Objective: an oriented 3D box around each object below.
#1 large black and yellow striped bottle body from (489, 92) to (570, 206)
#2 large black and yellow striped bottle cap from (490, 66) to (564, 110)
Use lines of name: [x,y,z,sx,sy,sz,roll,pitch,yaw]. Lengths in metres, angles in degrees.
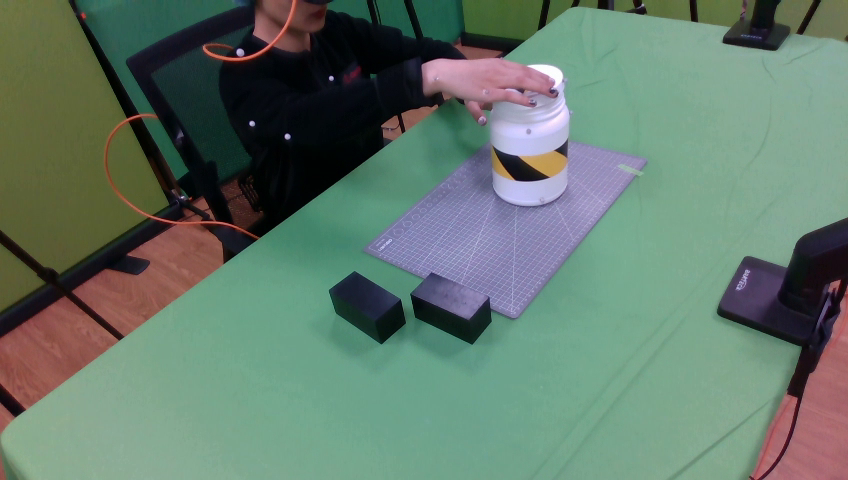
large black and yellow striped bottle body: [0.177,-0.164,1.012,0.131,0.185,0.130,-5,40,5]
large black and yellow striped bottle cap: [0.160,-0.239,0.944,0.115,0.019,0.114,-10,39,9]
